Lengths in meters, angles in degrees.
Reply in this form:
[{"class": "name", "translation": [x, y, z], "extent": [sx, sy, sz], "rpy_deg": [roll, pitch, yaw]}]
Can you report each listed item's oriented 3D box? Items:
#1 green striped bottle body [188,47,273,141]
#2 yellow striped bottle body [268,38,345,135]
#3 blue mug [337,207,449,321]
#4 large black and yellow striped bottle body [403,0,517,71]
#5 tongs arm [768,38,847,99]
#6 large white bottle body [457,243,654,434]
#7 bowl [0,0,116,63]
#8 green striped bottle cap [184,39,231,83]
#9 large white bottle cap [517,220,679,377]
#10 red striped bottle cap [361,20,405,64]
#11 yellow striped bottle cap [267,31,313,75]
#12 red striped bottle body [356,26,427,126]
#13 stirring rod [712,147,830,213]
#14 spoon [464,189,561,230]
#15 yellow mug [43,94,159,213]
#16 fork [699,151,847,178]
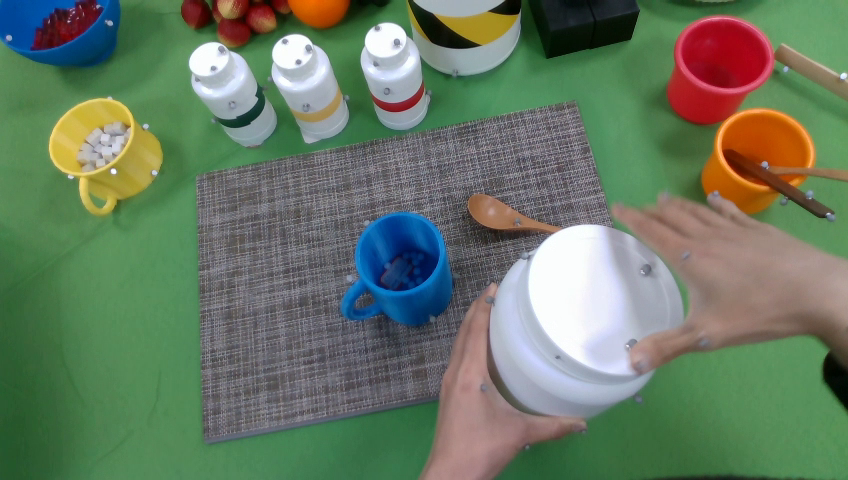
[{"class": "green striped bottle body", "translation": [-0.217, -0.167, 0.676], "extent": [0.063, 0.120, 0.062], "rpy_deg": [-2, 69, 5]}, {"class": "yellow striped bottle body", "translation": [-0.130, -0.173, 0.669], "extent": [0.063, 0.121, 0.062], "rpy_deg": [-2, 69, 6]}, {"class": "blue mug", "translation": [-0.033, 0.036, 0.586], "extent": [0.116, 0.106, 0.081], "rpy_deg": [-35, 69, -7]}, {"class": "large black and yellow striped bottle body", "translation": [0.037, -0.290, 0.662], "extent": [0.130, 0.185, 0.130], "rpy_deg": [-2, 69, 5]}, {"class": "tongs arm", "translation": [0.543, -0.115, 0.625], "extent": [0.382, 0.027, 0.050], "rpy_deg": [40, 74, 17]}, {"class": "large white bottle body", "translation": [0.109, 0.078, 0.499], "extent": [0.131, 0.185, 0.129], "rpy_deg": [5, 60, -9]}, {"class": "bowl", "translation": [-0.450, -0.279, 0.763], "extent": [0.151, 0.077, 0.150], "rpy_deg": [-2, 70, 5]}, {"class": "green striped bottle cap", "translation": [-0.224, -0.186, 0.627], "extent": [0.044, 0.020, 0.044], "rpy_deg": [-1, 69, 3]}, {"class": "large white bottle cap", "translation": [0.122, 0.038, 0.426], "extent": [0.115, 0.018, 0.114], "rpy_deg": [5, 62, -9]}, {"class": "red striped bottle cap", "translation": [-0.042, -0.201, 0.615], "extent": [0.044, 0.018, 0.044], "rpy_deg": [-1, 67, 2]}, {"class": "yellow striped bottle cap", "translation": [-0.137, -0.192, 0.621], "extent": [0.044, 0.019, 0.044], "rpy_deg": [0, 65, 1]}, {"class": "red striped bottle body", "translation": [-0.035, -0.182, 0.663], "extent": [0.063, 0.120, 0.062], "rpy_deg": [-3, 68, 8]}, {"class": "stirring rod", "translation": [0.321, -0.061, 0.574], "extent": [0.014, 0.006, 0.174], "rpy_deg": [-9, 26, 0]}, {"class": "spoon", "translation": [0.133, -0.012, 0.631], "extent": [0.193, 0.022, 0.041], "rpy_deg": [19, 51, 12]}, {"class": "yellow mug", "translation": [-0.369, -0.093, 0.693], "extent": [0.100, 0.064, 0.130], "rpy_deg": [-2, 70, 5]}, {"class": "fork", "translation": [0.352, -0.065, 0.565], "extent": [0.028, 0.019, 0.205], "rpy_deg": [-48, 28, -12]}]
